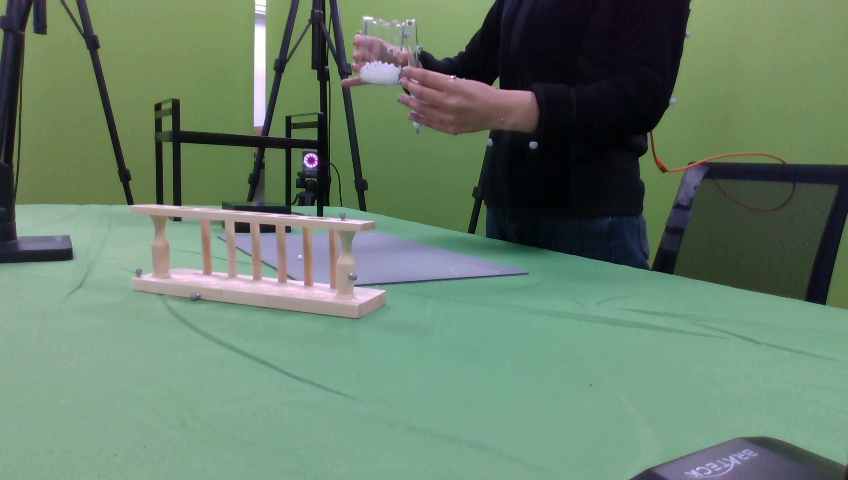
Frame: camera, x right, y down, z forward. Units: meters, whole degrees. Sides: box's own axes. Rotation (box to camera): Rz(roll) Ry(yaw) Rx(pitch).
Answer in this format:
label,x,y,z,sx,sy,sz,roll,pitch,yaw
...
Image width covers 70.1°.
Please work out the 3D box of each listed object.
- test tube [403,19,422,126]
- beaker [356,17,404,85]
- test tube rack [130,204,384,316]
label,x,y,z,sx,sy,sz,roll,pitch,yaw
test tube,-0.016,-0.239,0.871,0.017,0.150,0.017,-4,18,2
beaker,-0.073,-0.310,0.997,0.074,0.100,0.083,2,15,-17
test tube rack,-0.163,0.013,0.589,0.242,0.085,0.067,4,8,17
